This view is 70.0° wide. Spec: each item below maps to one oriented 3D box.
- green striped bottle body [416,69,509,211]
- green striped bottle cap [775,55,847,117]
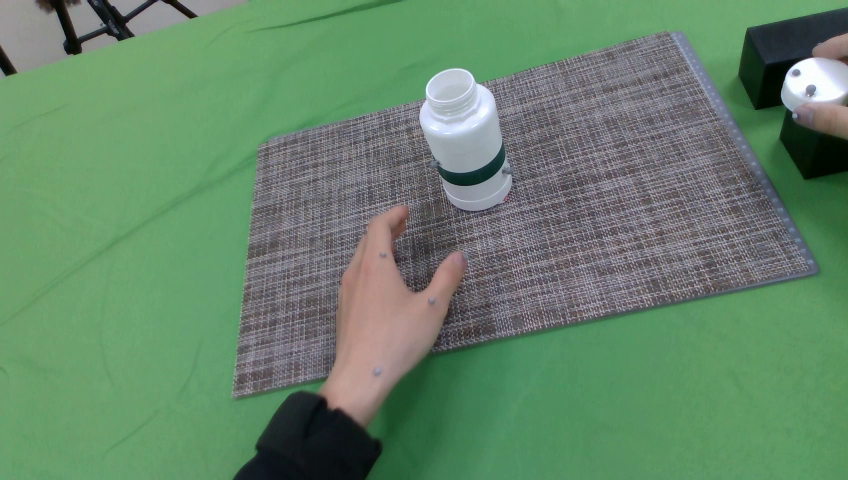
[{"bbox_3d":[0.032,-0.084,0.510,0.063,0.120,0.062,-9,53,12],"label":"green striped bottle body"},{"bbox_3d":[0.280,-0.111,0.437,0.044,0.020,0.044,-9,59,15],"label":"green striped bottle cap"}]
